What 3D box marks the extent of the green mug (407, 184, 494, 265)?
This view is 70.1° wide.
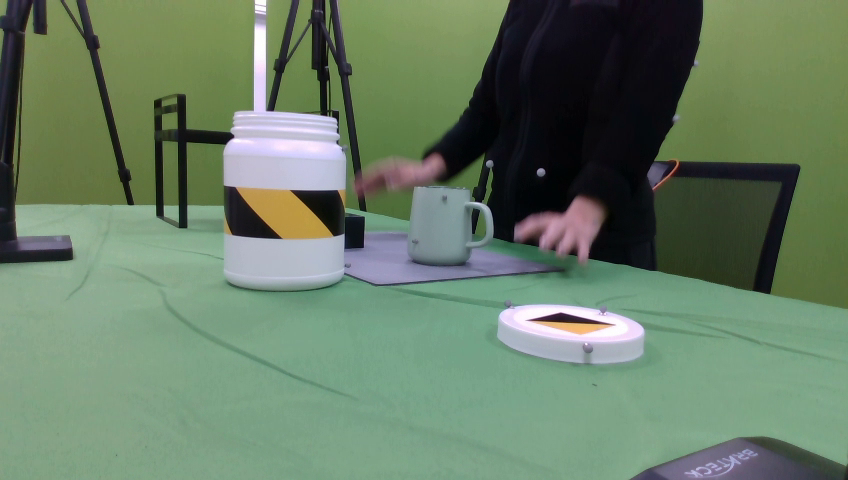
[{"bbox_3d":[0.038,-0.021,0.828,0.125,0.105,0.093,6,8,29],"label":"green mug"}]

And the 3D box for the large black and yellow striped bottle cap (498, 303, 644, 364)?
[{"bbox_3d":[0.117,0.072,0.486,0.115,0.019,0.115,1,8,0],"label":"large black and yellow striped bottle cap"}]

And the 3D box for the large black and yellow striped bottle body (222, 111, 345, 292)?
[{"bbox_3d":[-0.153,-0.045,0.667,0.131,0.184,0.130,2,8,0],"label":"large black and yellow striped bottle body"}]
